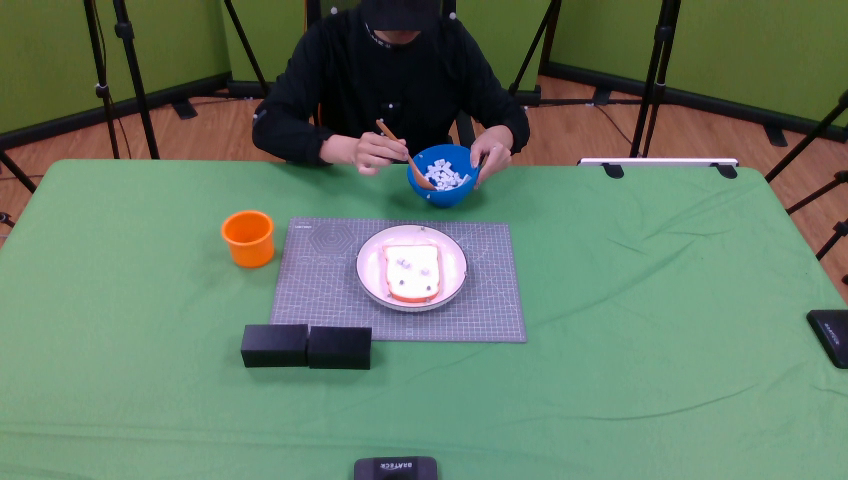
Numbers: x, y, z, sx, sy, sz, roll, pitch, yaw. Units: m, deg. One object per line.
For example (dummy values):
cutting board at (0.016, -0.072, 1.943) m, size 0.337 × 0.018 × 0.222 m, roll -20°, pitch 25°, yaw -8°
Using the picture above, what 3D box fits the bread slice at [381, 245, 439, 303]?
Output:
bread slice at (-0.022, 0.061, 1.126) m, size 0.107 × 0.018 × 0.133 m, roll -3°, pitch 45°, yaw -8°

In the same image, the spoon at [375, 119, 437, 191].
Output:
spoon at (-0.035, -0.160, 1.173) m, size 0.021 × 0.195 × 0.041 m, roll -50°, pitch 31°, yaw -21°

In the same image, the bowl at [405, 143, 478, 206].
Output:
bowl at (0.042, -0.124, 1.261) m, size 0.151 × 0.077 × 0.150 m, roll -7°, pitch 47°, yaw 7°

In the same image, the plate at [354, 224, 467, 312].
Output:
plate at (-0.025, 0.055, 1.128) m, size 0.209 × 0.038 × 0.208 m, roll 3°, pitch 46°, yaw -2°
